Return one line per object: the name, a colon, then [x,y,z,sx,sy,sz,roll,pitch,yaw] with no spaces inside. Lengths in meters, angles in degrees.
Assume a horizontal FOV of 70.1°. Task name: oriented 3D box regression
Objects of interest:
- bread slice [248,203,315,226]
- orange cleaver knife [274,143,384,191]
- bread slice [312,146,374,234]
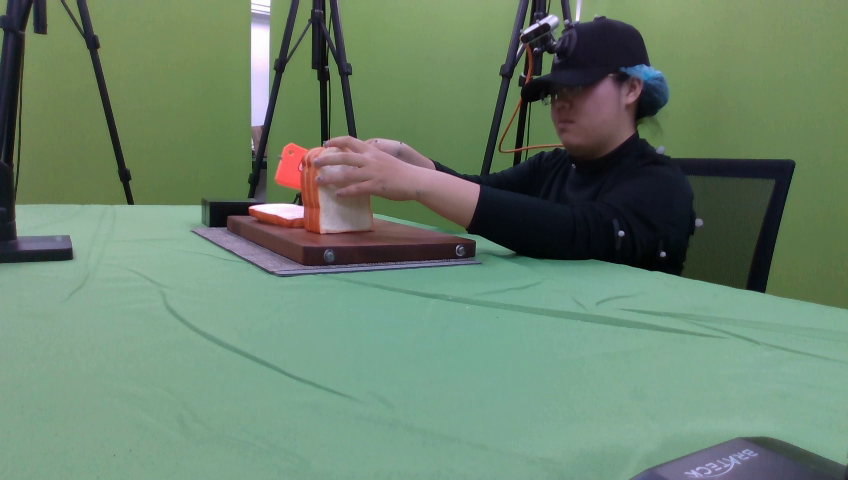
bread slice: [-0.228,-0.043,1.022,0.131,0.019,0.105,13,14,37]
orange cleaver knife: [-0.156,-0.118,1.025,0.212,0.077,0.012,-1,8,-42]
bread slice: [-0.128,-0.075,0.922,0.018,0.134,0.107,-4,3,45]
